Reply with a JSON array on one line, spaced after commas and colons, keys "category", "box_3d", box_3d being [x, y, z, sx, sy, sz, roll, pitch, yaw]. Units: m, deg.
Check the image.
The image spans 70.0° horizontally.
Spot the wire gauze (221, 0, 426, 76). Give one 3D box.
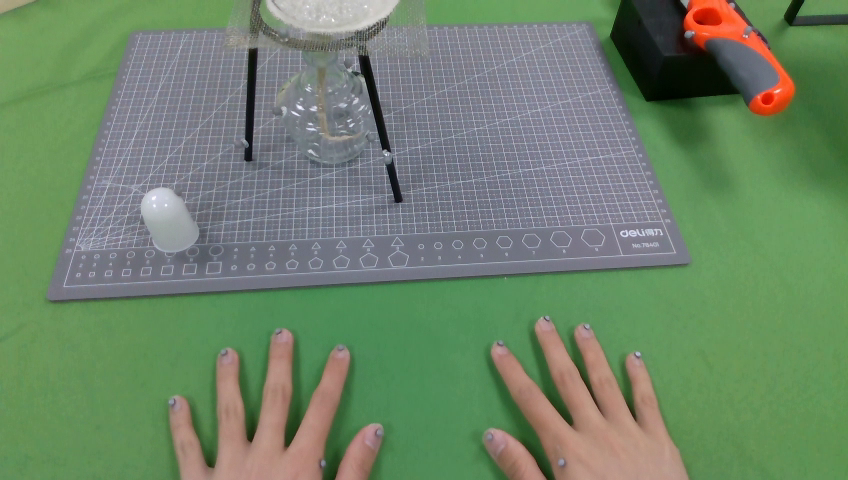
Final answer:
[{"category": "wire gauze", "box_3d": [-0.060, -0.157, 0.395, 0.125, 0.011, 0.120, 3, 57, -5]}]

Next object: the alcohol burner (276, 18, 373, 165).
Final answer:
[{"category": "alcohol burner", "box_3d": [-0.075, -0.114, 0.456, 0.078, 0.120, 0.077, 1, 55, -1]}]

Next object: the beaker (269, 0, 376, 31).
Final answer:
[{"category": "beaker", "box_3d": [-0.062, -0.181, 0.351, 0.074, 0.101, 0.083, -11, 57, -10]}]

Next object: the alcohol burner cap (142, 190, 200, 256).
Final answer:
[{"category": "alcohol burner cap", "box_3d": [-0.179, -0.015, 0.422, 0.034, 0.048, 0.033, 2, 53, -3]}]

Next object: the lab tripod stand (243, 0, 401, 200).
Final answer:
[{"category": "lab tripod stand", "box_3d": [-0.066, -0.112, 0.443, 0.148, 0.132, 0.147, 3, 53, -3]}]

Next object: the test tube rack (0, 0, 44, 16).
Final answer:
[{"category": "test tube rack", "box_3d": [-0.381, -0.300, 0.599, 0.242, 0.086, 0.066, -35, 63, -25]}]

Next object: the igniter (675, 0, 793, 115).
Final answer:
[{"category": "igniter", "box_3d": [0.248, -0.204, 0.538, 0.057, 0.025, 0.273, -7, 52, -4]}]
